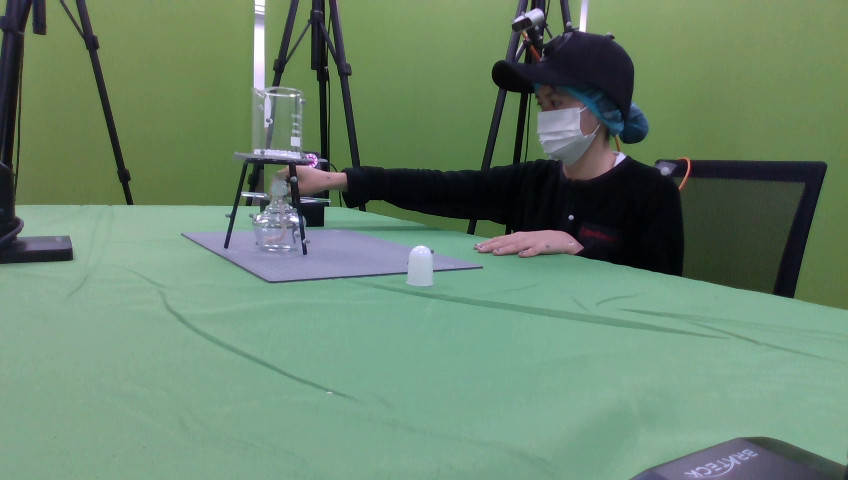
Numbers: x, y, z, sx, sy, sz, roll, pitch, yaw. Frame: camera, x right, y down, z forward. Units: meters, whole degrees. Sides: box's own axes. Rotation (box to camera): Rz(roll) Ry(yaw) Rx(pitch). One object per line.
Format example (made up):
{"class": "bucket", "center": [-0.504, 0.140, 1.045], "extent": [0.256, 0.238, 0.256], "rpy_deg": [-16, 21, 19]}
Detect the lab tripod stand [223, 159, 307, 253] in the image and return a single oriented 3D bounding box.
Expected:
{"class": "lab tripod stand", "center": [-0.220, -0.053, 0.896], "extent": [0.148, 0.131, 0.148], "rpy_deg": [1, 6, 0]}

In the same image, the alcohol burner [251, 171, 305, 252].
{"class": "alcohol burner", "center": [-0.214, -0.042, 0.888], "extent": [0.078, 0.119, 0.078], "rpy_deg": [1, 9, 0]}

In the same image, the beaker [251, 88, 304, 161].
{"class": "beaker", "center": [-0.214, -0.165, 0.874], "extent": [0.074, 0.100, 0.084], "rpy_deg": [4, 6, 15]}

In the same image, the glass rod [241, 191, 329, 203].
{"class": "glass rod", "center": [-0.280, -0.087, 1.239], "extent": [0.201, 0.008, 0.008], "rpy_deg": [4, 5, -41]}

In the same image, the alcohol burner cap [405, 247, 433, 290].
{"class": "alcohol burner cap", "center": [-0.005, 0.031, 0.698], "extent": [0.034, 0.048, 0.034], "rpy_deg": [3, 8, 0]}

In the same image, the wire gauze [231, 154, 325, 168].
{"class": "wire gauze", "center": [-0.215, -0.117, 0.882], "extent": [0.125, 0.011, 0.121], "rpy_deg": [3, 7, -19]}
